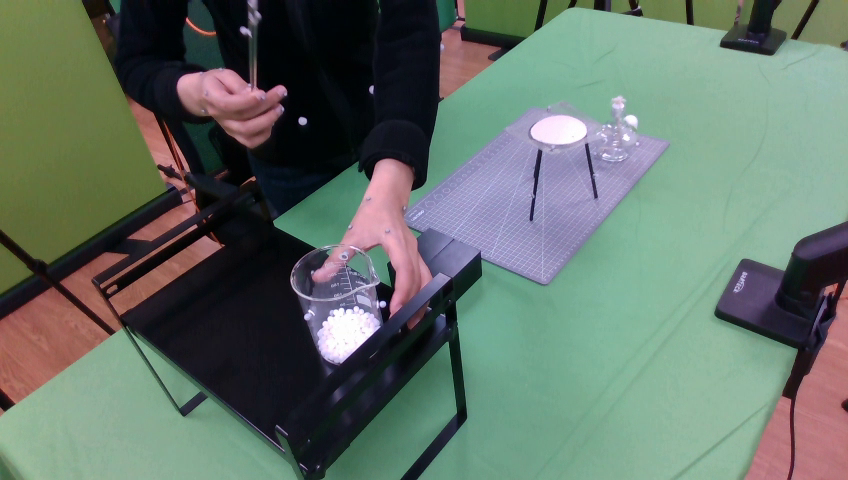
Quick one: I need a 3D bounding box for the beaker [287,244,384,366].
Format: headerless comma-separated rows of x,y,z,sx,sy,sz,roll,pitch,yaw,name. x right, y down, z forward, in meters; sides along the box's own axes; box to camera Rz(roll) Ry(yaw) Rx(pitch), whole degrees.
-0.077,0.065,0.574,0.083,0.101,0.074,6,43,15,beaker

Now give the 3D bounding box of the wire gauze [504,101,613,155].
0.211,-0.177,0.955,0.125,0.011,0.120,-24,44,-18,wire gauze

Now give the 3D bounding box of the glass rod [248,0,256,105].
-0.177,-0.186,0.623,0.008,0.199,0.008,4,75,-15,glass rod

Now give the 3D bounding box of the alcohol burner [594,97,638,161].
0.345,-0.203,1.084,0.078,0.119,0.077,-5,43,5,alcohol burner

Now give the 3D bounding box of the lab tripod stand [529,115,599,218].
0.217,-0.123,0.995,0.148,0.132,0.147,-4,43,4,lab tripod stand

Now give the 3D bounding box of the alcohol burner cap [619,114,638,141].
0.389,-0.215,1.145,0.034,0.048,0.033,-4,41,4,alcohol burner cap
